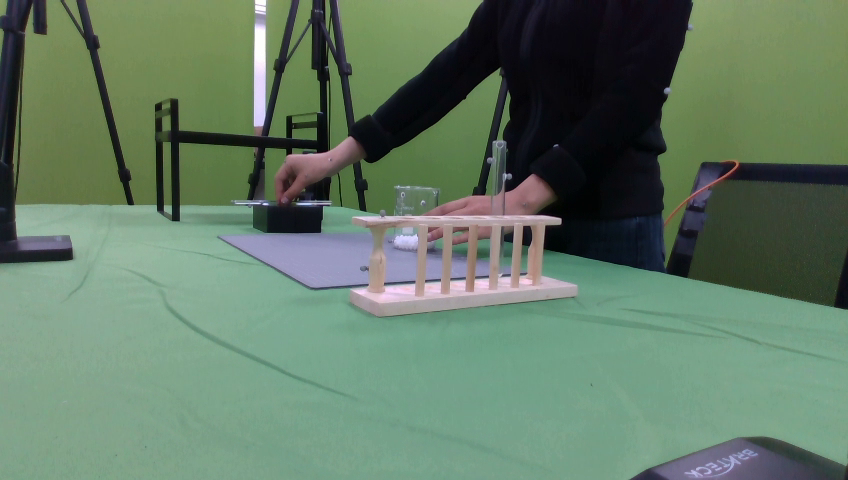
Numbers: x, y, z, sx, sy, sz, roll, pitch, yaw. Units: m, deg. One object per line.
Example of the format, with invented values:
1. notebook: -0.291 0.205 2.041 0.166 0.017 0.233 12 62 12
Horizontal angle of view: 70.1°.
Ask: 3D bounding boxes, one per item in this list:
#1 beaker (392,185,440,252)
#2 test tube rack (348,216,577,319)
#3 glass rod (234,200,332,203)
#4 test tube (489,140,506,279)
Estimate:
1. beaker: -0.012 -0.035 0.957 0.084 0.100 0.073 -3 9 -36
2. test tube rack: 0.048 0.021 0.619 0.244 0.085 0.066 -2 9 -31
3. glass rod: -0.263 -0.072 1.147 0.201 0.008 0.008 -3 9 -39
4. test tube: 0.079 -0.032 0.653 0.017 0.150 0.017 1 2 0
